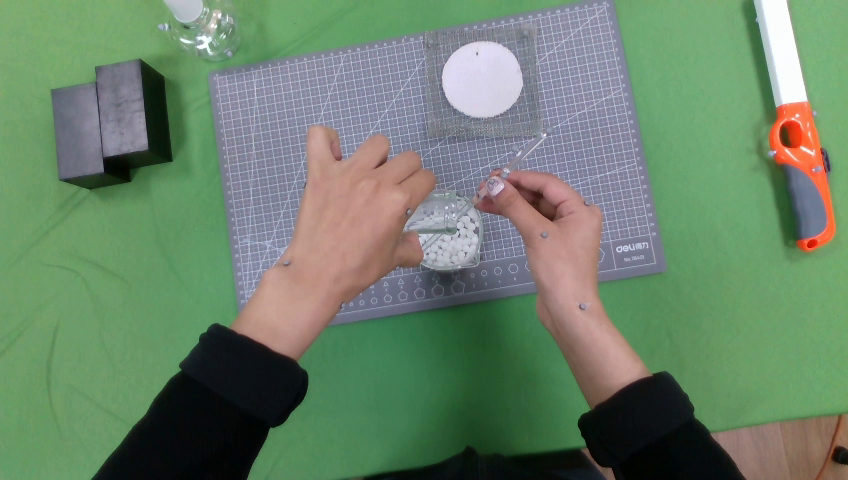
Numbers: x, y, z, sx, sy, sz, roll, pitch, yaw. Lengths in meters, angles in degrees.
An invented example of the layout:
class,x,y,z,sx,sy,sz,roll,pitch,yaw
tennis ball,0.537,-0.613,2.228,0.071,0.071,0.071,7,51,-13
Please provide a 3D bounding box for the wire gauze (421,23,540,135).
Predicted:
class,x,y,z,sx,sy,sz,roll,pitch,yaw
wire gauze,0.060,-0.172,0.651,0.125,0.011,0.121,-2,84,1

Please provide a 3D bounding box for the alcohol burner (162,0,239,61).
class,x,y,z,sx,sy,sz,roll,pitch,yaw
alcohol burner,-0.241,-0.234,0.629,0.078,0.119,0.077,0,85,6

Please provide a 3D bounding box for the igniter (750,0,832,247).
class,x,y,z,sx,sy,sz,roll,pitch,yaw
igniter,0.372,-0.130,0.617,0.057,0.025,0.275,-7,84,-6

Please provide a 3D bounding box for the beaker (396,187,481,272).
class,x,y,z,sx,sy,sz,roll,pitch,yaw
beaker,0.020,-0.004,0.593,0.084,0.100,0.074,44,89,7

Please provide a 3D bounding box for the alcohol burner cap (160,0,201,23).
class,x,y,z,sx,sy,sz,roll,pitch,yaw
alcohol burner cap,-0.244,-0.240,0.593,0.034,0.048,0.033,-1,78,5

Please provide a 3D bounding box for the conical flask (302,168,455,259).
class,x,y,z,sx,sy,sz,roll,pitch,yaw
conical flask,-0.036,-0.023,0.503,0.122,0.075,0.075,-1,84,-3

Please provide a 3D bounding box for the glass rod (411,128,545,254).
class,x,y,z,sx,sy,sz,roll,pitch,yaw
glass rod,0.037,-0.034,0.513,0.008,0.200,0.008,16,55,-25
